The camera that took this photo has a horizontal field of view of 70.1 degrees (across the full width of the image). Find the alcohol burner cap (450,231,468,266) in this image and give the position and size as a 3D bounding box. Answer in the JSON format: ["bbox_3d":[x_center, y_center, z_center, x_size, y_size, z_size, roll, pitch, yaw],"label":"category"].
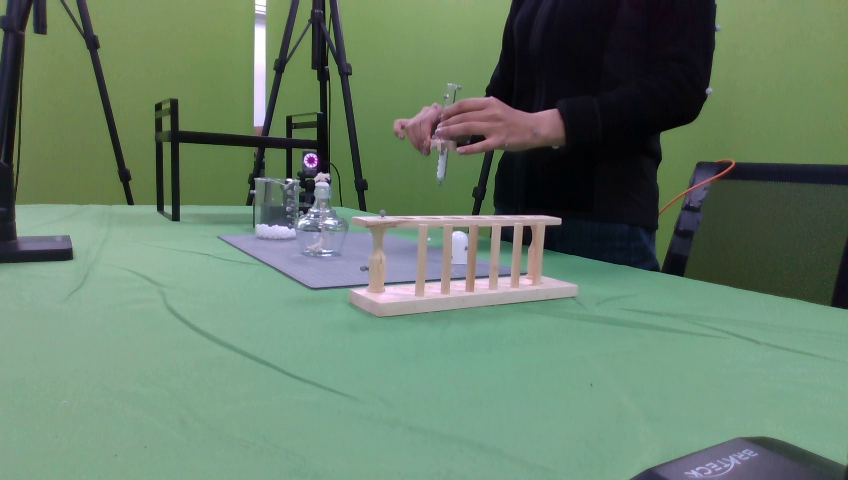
[{"bbox_3d":[0.046,0.012,0.838,0.034,0.048,0.034,3,6,0],"label":"alcohol burner cap"}]

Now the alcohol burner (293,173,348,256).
[{"bbox_3d":[-0.146,-0.036,0.859,0.078,0.119,0.078,4,8,0],"label":"alcohol burner"}]

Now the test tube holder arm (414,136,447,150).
[{"bbox_3d":[0.009,-0.162,1.003,0.013,0.015,0.178,3,11,-16],"label":"test tube holder arm"}]

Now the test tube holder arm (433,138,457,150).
[{"bbox_3d":[0.028,-0.153,0.963,0.010,0.015,0.087,0,12,-26],"label":"test tube holder arm"}]

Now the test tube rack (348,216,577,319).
[{"bbox_3d":[0.048,0.021,0.619,0.244,0.085,0.066,-2,8,-31],"label":"test tube rack"}]

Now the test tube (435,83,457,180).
[{"bbox_3d":[0.033,-0.167,0.938,0.017,0.150,0.017,7,12,-1],"label":"test tube"}]

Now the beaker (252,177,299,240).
[{"bbox_3d":[-0.245,-0.052,1.005,0.074,0.100,0.083,-3,10,-32],"label":"beaker"}]
